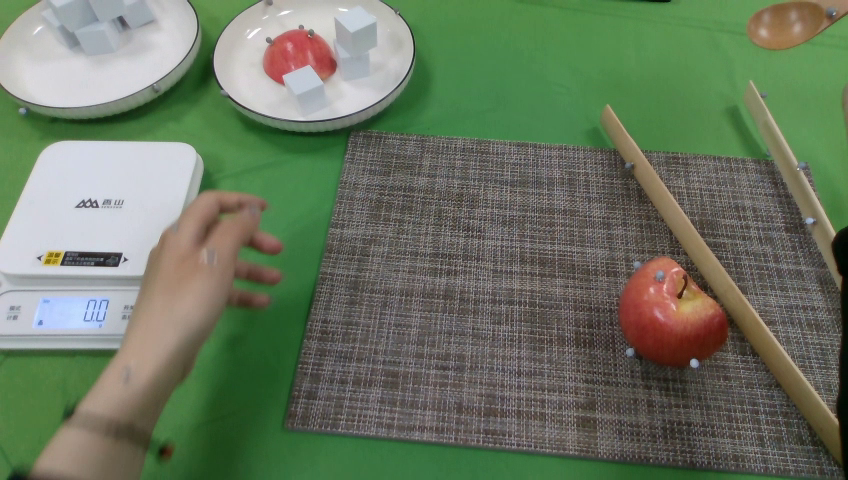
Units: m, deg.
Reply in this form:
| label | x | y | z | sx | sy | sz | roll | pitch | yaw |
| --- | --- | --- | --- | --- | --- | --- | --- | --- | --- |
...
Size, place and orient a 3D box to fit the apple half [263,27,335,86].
| label | x | y | z | sx | sy | sz | roll | pitch | yaw |
| --- | --- | --- | --- | --- | --- | --- | --- | --- | --- |
| apple half | -0.133 | -0.201 | 0.640 | 0.081 | 0.033 | 0.080 | -1 | 55 | 2 |

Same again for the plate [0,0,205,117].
| label | x | y | z | sx | sy | sz | roll | pitch | yaw |
| --- | --- | --- | --- | --- | --- | --- | --- | --- | --- |
| plate | -0.338 | -0.204 | 0.647 | 0.208 | 0.039 | 0.205 | 0 | 57 | 0 |

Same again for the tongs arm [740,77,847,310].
| label | x | y | z | sx | sy | sz | roll | pitch | yaw |
| --- | --- | --- | --- | --- | --- | --- | --- | --- | --- |
| tongs arm | 0.328 | 0.004 | 0.519 | 0.051 | 0.027 | 0.381 | -4 | 58 | -5 |

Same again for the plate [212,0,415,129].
| label | x | y | z | sx | sy | sz | roll | pitch | yaw |
| --- | --- | --- | --- | --- | --- | --- | --- | --- | --- |
| plate | -0.113 | -0.190 | 0.640 | 0.209 | 0.038 | 0.207 | 0 | 57 | 0 |

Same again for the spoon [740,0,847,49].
| label | x | y | z | sx | sy | sz | roll | pitch | yaw |
| --- | --- | --- | --- | --- | --- | --- | --- | --- | --- |
| spoon | 0.334 | -0.181 | 0.432 | 0.193 | 0.022 | 0.041 | -13 | 70 | 31 |

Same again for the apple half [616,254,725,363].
| label | x | y | z | sx | sy | sz | roll | pitch | yaw |
| --- | --- | --- | --- | --- | --- | --- | --- | --- | --- |
| apple half | 0.176 | 0.059 | 0.458 | 0.053 | 0.075 | 0.080 | -29 | 65 | -13 |

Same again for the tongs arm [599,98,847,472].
| label | x | y | z | sx | sy | sz | roll | pitch | yaw |
| --- | --- | --- | --- | --- | --- | --- | --- | --- | --- |
| tongs arm | 0.247 | 0.018 | 0.509 | 0.028 | 0.028 | 0.383 | -15 | 59 | -15 |

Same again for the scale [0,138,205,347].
| label | x | y | z | sx | sy | sz | roll | pitch | yaw |
| --- | --- | --- | --- | --- | --- | --- | --- | --- | --- |
| scale | -0.280 | -0.005 | 0.523 | 0.149 | 0.032 | 0.199 | 0 | 58 | 0 |
